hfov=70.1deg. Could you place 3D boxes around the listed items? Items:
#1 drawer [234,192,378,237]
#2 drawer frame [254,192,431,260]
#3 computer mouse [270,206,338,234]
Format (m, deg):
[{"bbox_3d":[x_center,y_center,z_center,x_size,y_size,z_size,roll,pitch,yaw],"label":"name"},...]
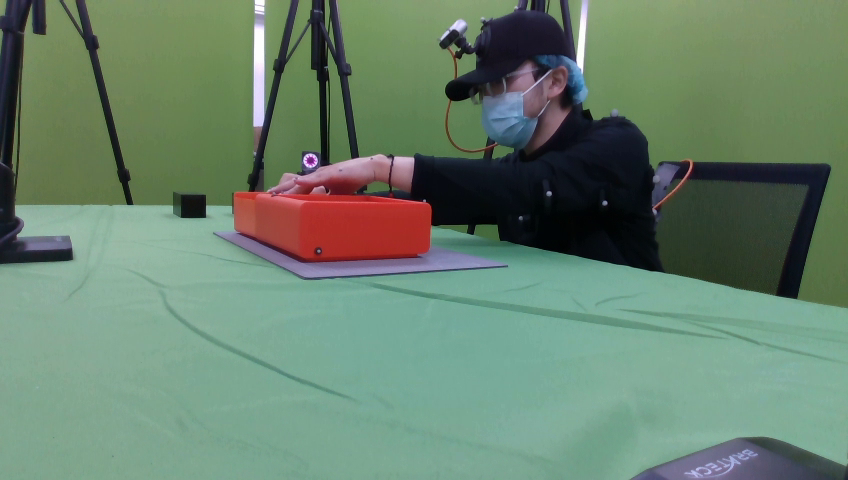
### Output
[{"bbox_3d":[-0.196,-0.041,1.021,0.195,0.073,0.210,-1,7,-32],"label":"drawer"},{"bbox_3d":[-0.128,-0.028,0.912,0.203,0.082,0.212,-1,8,-31],"label":"drawer frame"},{"bbox_3d":[-0.209,-0.036,1.055,0.117,0.041,0.062,-9,12,-4],"label":"computer mouse"}]
